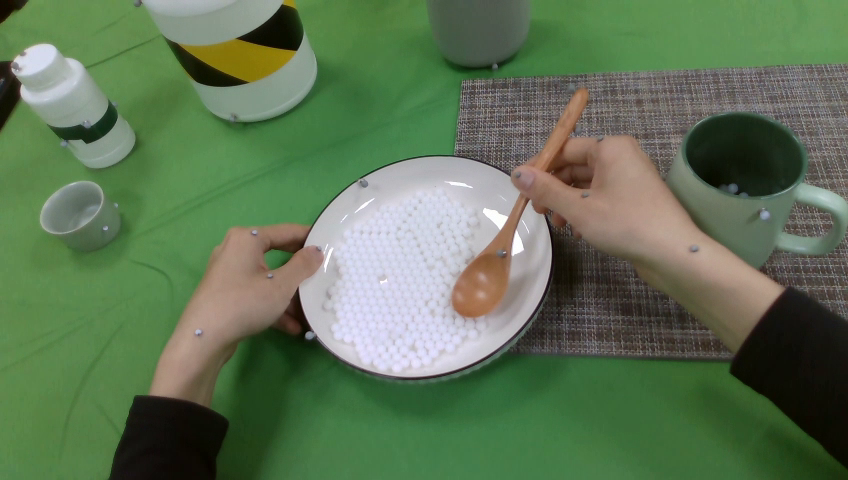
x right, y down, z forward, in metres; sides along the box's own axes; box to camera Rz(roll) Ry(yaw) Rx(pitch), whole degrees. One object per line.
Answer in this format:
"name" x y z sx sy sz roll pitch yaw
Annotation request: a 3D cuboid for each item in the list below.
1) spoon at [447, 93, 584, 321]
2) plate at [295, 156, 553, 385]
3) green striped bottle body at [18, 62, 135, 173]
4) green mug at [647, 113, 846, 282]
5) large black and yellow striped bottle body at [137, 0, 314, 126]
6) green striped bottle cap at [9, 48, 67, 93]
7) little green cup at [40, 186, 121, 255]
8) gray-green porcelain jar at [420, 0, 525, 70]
"spoon" 0.073 -0.026 0.459 0.041 0.022 0.194 30 95 32
"plate" 0.000 0.022 0.492 0.209 0.038 0.207 -6 56 9
"green striped bottle body" -0.348 -0.127 0.602 0.063 0.120 0.062 -5 56 7
"green mug" 0.233 -0.024 0.441 0.124 0.106 0.092 20 62 21
"large black and yellow striped bottle body" -0.196 -0.219 0.597 0.130 0.186 0.129 -4 57 7
"green striped bottle cap" -0.356 -0.156 0.559 0.044 0.020 0.044 -3 58 5
"little green cup" -0.323 -0.017 0.574 0.061 0.039 0.061 -5 55 7
"gray-green porcelain jar" 0.049 -0.246 0.609 0.106 0.128 0.105 -4 56 7
